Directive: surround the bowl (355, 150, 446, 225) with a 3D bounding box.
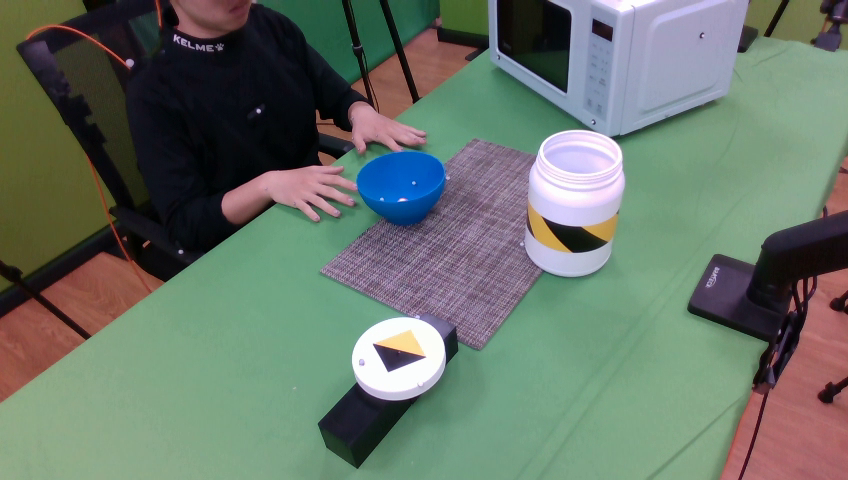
[{"bbox_3d":[-0.035,-0.078,1.017,0.151,0.077,0.150,-4,40,4],"label":"bowl"}]

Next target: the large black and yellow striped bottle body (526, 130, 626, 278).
[{"bbox_3d":[0.216,-0.051,0.870,0.131,0.185,0.130,-2,43,2],"label":"large black and yellow striped bottle body"}]

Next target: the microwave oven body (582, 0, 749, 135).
[{"bbox_3d":[0.382,-0.444,1.246,0.327,0.261,0.437,-22,42,-16],"label":"microwave oven body"}]

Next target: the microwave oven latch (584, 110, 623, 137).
[{"bbox_3d":[0.337,-0.222,1.142,0.030,0.029,0.078,-21,42,-14],"label":"microwave oven latch"}]

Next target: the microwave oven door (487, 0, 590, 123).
[{"bbox_3d":[0.231,-0.420,1.230,0.039,0.245,0.352,-22,43,-16],"label":"microwave oven door"}]

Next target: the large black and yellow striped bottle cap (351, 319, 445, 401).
[{"bbox_3d":[-0.031,0.143,0.735,0.115,0.019,0.114,-3,40,3],"label":"large black and yellow striped bottle cap"}]
